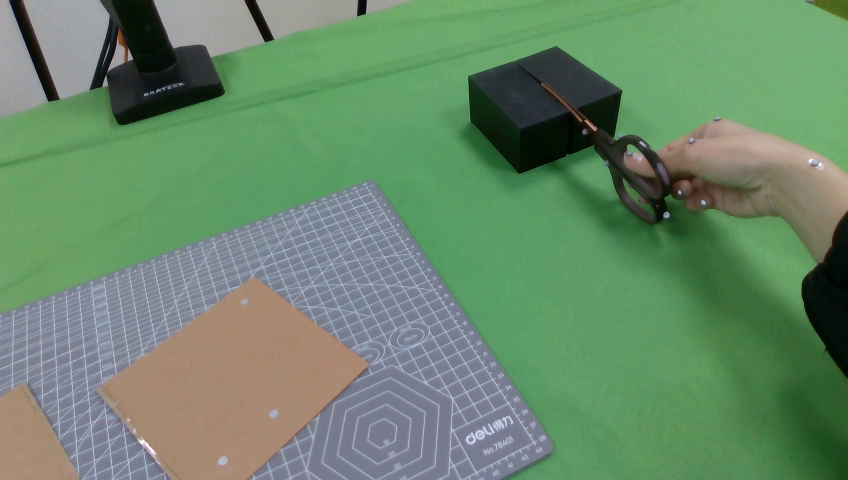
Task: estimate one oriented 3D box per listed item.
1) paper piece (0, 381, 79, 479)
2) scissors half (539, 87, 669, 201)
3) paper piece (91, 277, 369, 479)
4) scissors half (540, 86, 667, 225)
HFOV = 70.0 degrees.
[{"bbox_3d":[-0.285,0.166,0.364,0.135,0.004,0.134,-35,51,-26],"label":"paper piece"},{"bbox_3d":[0.142,-0.089,0.504,0.013,0.040,0.173,-30,45,-4],"label":"scissors half"},{"bbox_3d":[-0.133,0.095,0.418,0.135,0.009,0.138,34,56,28],"label":"paper piece"},{"bbox_3d":[0.147,-0.077,0.520,0.013,0.040,0.173,-27,61,-8],"label":"scissors half"}]
